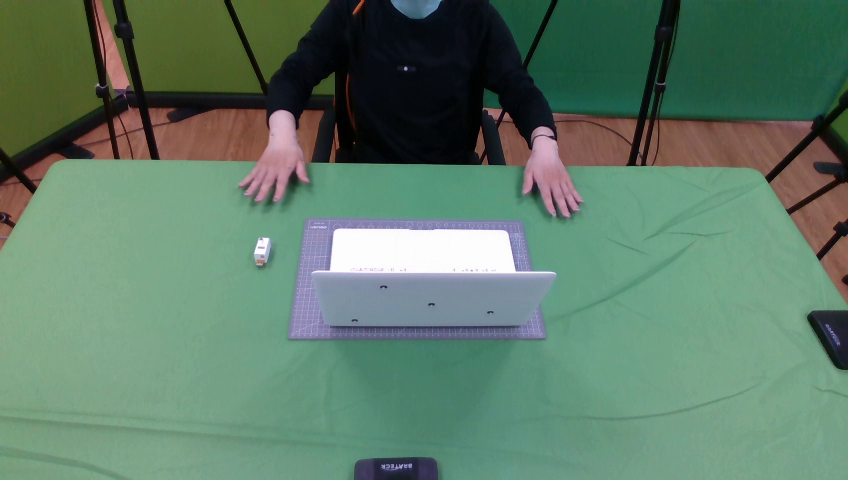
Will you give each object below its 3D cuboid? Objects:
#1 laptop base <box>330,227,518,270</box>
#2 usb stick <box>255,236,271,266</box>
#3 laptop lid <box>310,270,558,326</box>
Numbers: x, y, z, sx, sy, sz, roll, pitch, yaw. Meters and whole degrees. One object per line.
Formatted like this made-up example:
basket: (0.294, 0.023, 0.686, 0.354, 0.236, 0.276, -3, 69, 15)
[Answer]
laptop base: (0.001, 0.063, 1.134, 0.354, 0.023, 0.234, 0, 43, -3)
usb stick: (-0.306, 0.022, 1.148, 0.021, 0.027, 0.059, 3, 50, -2)
laptop lid: (0.011, 0.095, 0.948, 0.357, 0.242, 0.013, 1, 64, -5)
